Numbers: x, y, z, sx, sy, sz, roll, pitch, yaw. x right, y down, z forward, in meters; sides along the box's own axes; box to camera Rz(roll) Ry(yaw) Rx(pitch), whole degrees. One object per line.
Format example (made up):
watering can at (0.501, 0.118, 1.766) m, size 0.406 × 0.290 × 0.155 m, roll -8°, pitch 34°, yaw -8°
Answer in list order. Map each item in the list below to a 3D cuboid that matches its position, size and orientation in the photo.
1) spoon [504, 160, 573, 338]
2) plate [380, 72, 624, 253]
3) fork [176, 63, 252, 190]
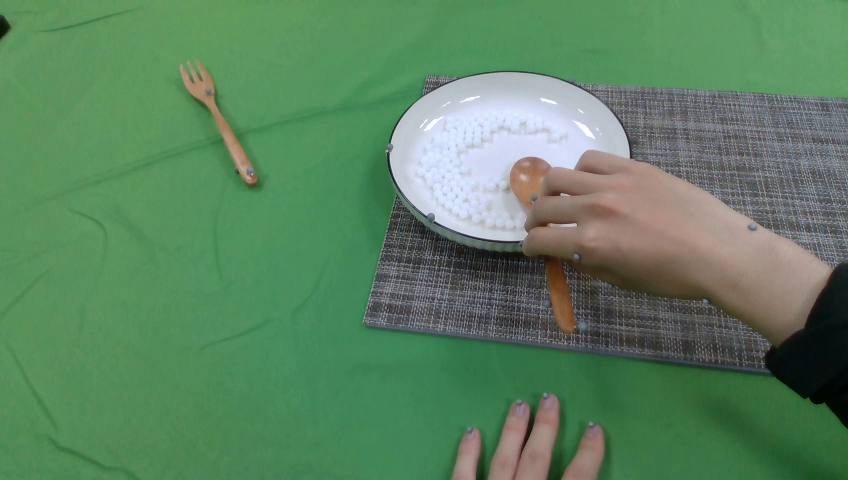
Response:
spoon at (0.088, -0.003, 0.460) m, size 0.041 × 0.022 × 0.192 m, roll -1°, pitch 38°, yaw 1°
plate at (0.066, -0.069, 0.533) m, size 0.207 × 0.039 × 0.205 m, roll -2°, pitch 53°, yaw 3°
fork at (-0.210, -0.117, 0.605) m, size 0.028 × 0.019 × 0.205 m, roll -22°, pitch 52°, yaw -20°
